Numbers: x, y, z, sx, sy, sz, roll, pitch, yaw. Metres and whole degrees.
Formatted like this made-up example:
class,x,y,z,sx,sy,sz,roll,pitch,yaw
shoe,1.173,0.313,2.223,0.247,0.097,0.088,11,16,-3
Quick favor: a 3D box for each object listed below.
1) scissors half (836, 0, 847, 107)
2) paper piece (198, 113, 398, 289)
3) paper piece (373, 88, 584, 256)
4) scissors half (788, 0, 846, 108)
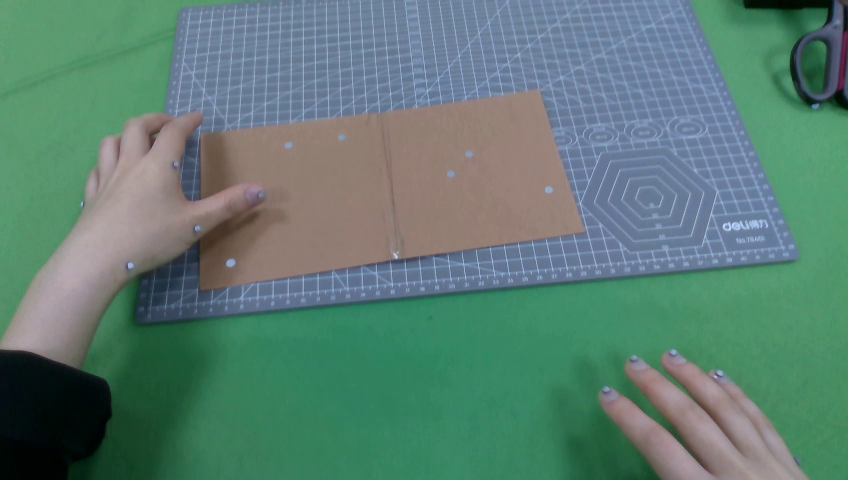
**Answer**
class,x,y,z,sx,sy,sz,roll,pitch,yaw
scissors half,0.346,-0.189,0.482,0.040,0.013,0.174,-2,82,11
paper piece,-0.095,-0.035,0.442,0.138,0.009,0.134,-8,58,-3
paper piece,0.036,-0.055,0.450,0.136,0.004,0.134,-8,60,-4
scissors half,0.326,-0.191,0.486,0.040,0.013,0.175,16,84,7
